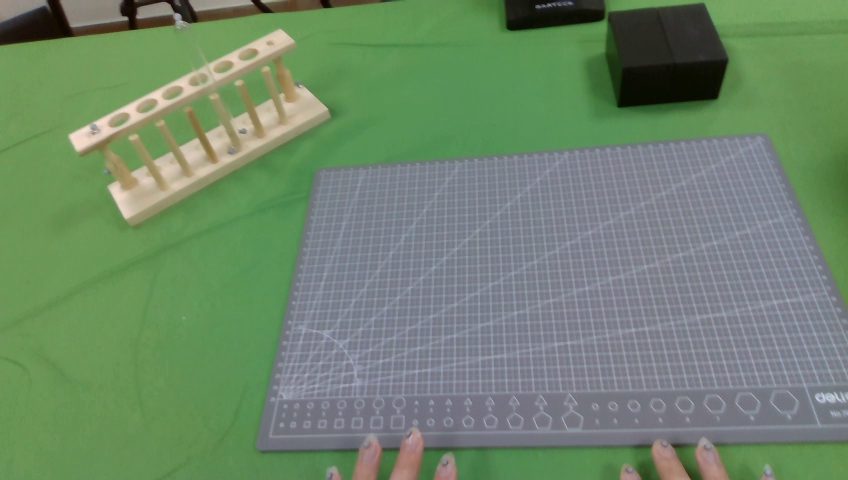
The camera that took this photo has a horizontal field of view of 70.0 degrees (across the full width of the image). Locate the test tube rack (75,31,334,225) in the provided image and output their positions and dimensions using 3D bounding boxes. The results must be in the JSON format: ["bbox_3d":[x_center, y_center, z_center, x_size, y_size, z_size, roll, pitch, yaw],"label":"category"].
[{"bbox_3d":[-0.225,-0.123,0.647,0.242,0.086,0.066,-33,53,-16],"label":"test tube rack"}]

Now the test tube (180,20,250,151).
[{"bbox_3d":[-0.206,-0.149,0.605,0.017,0.152,0.017,-4,50,6],"label":"test tube"}]
